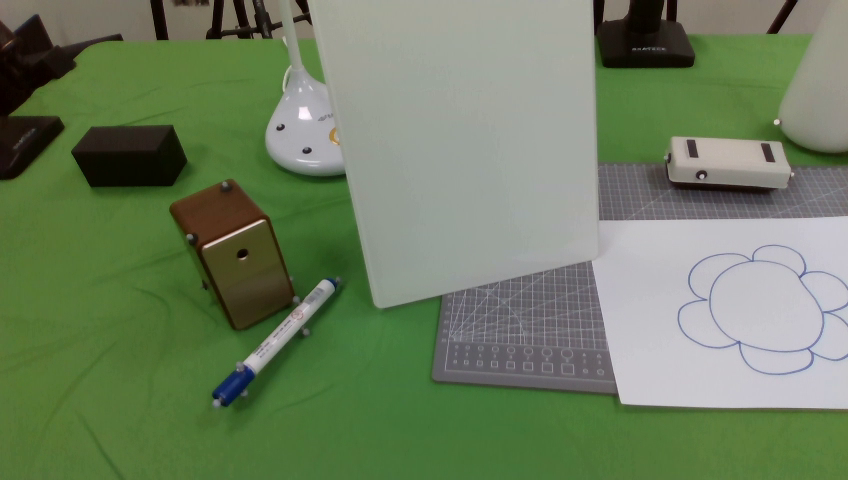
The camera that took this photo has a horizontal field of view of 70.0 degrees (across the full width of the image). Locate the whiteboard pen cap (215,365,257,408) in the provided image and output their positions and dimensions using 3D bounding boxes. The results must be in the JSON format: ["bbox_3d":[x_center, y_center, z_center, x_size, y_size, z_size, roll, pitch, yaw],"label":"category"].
[{"bbox_3d":[-0.147,0.115,0.476,0.018,0.018,0.033,20,46,25],"label":"whiteboard pen cap"}]

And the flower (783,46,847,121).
[{"bbox_3d":[0.445,-0.237,0.550,0.044,0.364,0.038,-15,61,-20],"label":"flower"}]

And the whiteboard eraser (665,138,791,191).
[{"bbox_3d":[0.309,-0.076,0.624,0.112,0.042,0.055,4,42,10],"label":"whiteboard eraser"}]

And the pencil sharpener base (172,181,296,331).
[{"bbox_3d":[-0.165,0.014,0.531,0.061,0.108,0.076,-29,48,-23],"label":"pencil sharpener base"}]

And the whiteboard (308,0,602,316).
[{"bbox_3d":[0.027,-0.119,0.550,0.217,0.307,0.142,-12,25,-6],"label":"whiteboard"}]

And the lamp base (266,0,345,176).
[{"bbox_3d":[-0.124,-0.191,0.689,0.160,0.182,0.177,-33,48,-27],"label":"lamp base"}]

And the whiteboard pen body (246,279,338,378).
[{"bbox_3d":[-0.118,0.081,0.516,0.017,0.017,0.140,18,44,23],"label":"whiteboard pen body"}]

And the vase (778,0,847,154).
[{"bbox_3d":[0.443,-0.188,0.619,0.098,0.202,0.097,-2,44,2],"label":"vase"}]

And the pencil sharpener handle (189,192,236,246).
[{"bbox_3d":[-0.195,-0.023,0.554,0.036,0.068,0.030,-35,50,-17],"label":"pencil sharpener handle"}]
